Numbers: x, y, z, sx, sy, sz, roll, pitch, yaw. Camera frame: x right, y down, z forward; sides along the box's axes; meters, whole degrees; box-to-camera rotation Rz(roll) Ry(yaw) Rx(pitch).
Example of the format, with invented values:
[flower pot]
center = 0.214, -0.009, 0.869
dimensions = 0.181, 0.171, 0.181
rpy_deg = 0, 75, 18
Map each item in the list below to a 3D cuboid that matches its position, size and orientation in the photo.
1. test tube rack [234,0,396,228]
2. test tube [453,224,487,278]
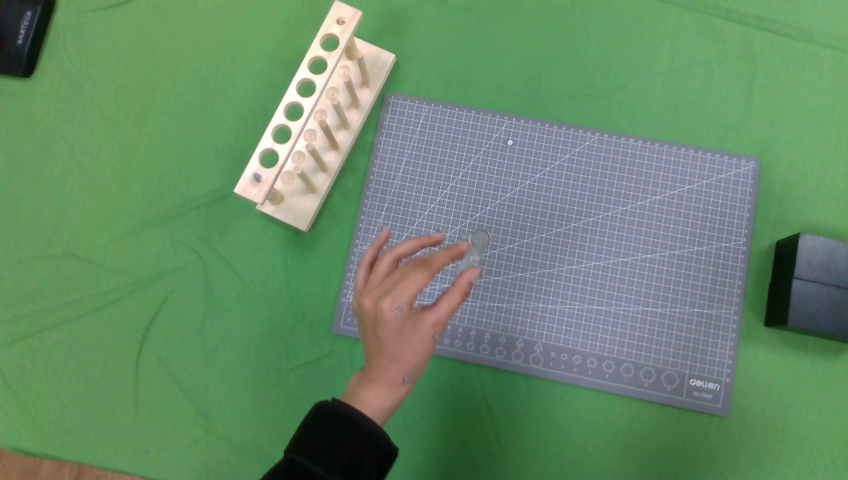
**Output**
[test tube rack]
center = -0.119, -0.142, 0.694
dimensions = 0.066, 0.085, 0.242
rpy_deg = 26, 83, 6
[test tube]
center = 0.038, 0.013, 0.528
dimensions = 0.017, 0.151, 0.017
rpy_deg = 0, 76, -1
